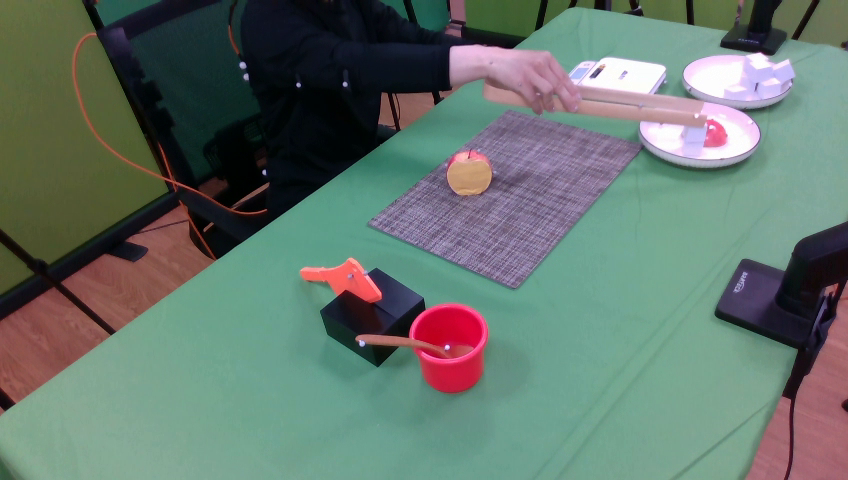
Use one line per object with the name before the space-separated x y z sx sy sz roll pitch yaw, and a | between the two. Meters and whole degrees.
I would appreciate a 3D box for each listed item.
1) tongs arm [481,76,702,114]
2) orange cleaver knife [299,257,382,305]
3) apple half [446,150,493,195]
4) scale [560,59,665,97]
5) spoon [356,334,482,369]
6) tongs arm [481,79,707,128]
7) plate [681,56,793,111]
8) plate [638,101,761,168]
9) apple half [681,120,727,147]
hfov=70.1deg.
tongs arm | 0.295 -0.253 1.072 0.388 0.028 0.028 8 43 2
orange cleaver knife | -0.124 0.062 0.872 0.012 0.077 0.210 -38 17 -30
apple half | 0.080 -0.124 1.065 0.081 0.075 0.053 -7 36 6
scale | 0.406 -0.348 1.314 0.199 0.032 0.149 19 47 28
spoon | -0.001 0.130 0.731 0.195 0.021 0.041 22 27 -39
tongs arm | 0.291 -0.237 1.051 0.385 0.026 0.050 6 39 0
plate | 0.636 -0.317 1.239 0.207 0.039 0.206 -4 40 4
plate | 0.500 -0.189 1.111 0.209 0.038 0.208 -4 41 4
apple half | 0.518 -0.202 1.115 0.081 0.033 0.081 -1 40 2
